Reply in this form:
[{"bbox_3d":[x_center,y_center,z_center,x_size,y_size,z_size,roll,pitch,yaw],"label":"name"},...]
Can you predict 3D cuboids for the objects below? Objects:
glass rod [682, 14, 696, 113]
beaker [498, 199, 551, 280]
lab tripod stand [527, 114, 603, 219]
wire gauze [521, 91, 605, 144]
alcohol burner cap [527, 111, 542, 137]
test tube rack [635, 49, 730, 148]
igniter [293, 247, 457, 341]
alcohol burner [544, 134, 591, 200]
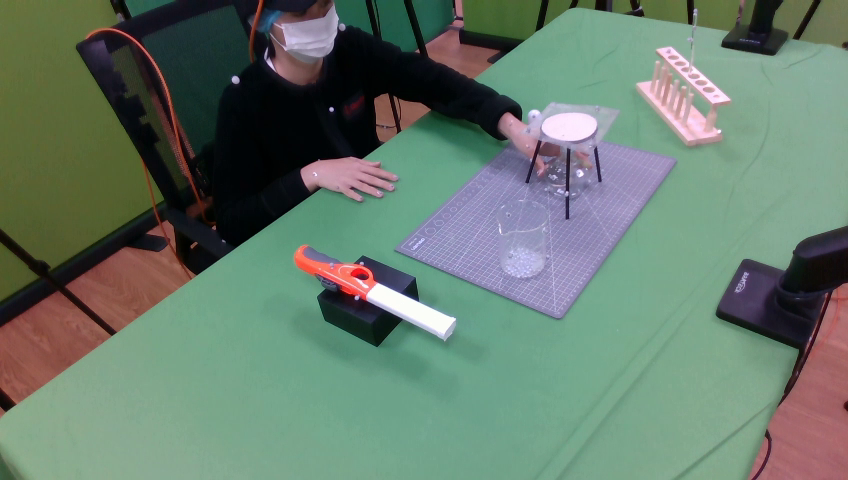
[{"bbox_3d":[0.495,-0.326,1.132,0.008,0.201,0.008,-8,42,8],"label":"glass rod"},{"bbox_3d":[0.144,0.003,0.884,0.073,0.101,0.084,28,52,36],"label":"beaker"},{"bbox_3d":[0.234,-0.129,1.002,0.148,0.132,0.147,-6,40,6],"label":"lab tripod stand"},{"bbox_3d":[0.219,-0.191,0.948,0.121,0.011,0.125,8,49,13],"label":"wire gauze"},{"bbox_3d":[0.220,-0.233,1.200,0.034,0.048,0.033,-6,41,5],"label":"alcohol burner cap"},{"bbox_3d":[0.497,-0.283,1.185,0.067,0.085,0.240,-10,40,-2],"label":"test tube rack"},{"bbox_3d":[-0.077,0.068,0.831,0.274,0.025,0.057,22,48,27],"label":"igniter"},{"bbox_3d":[0.241,-0.127,1.014,0.078,0.119,0.077,-5,42,5],"label":"alcohol burner"}]
